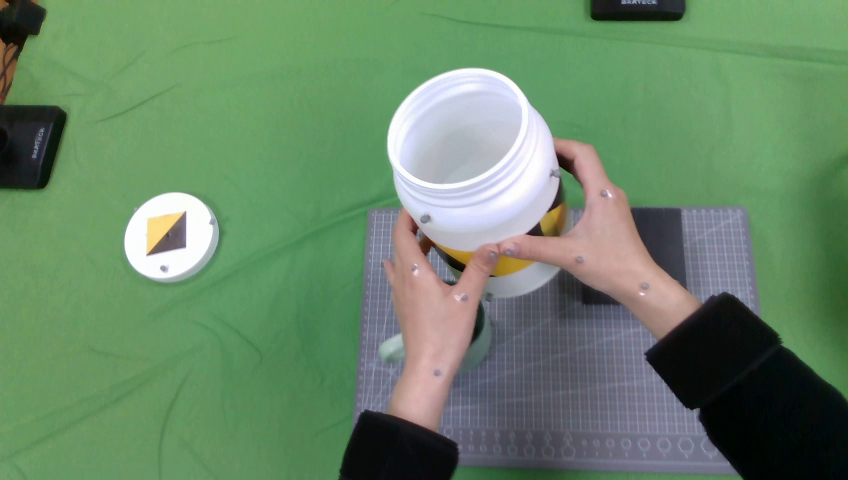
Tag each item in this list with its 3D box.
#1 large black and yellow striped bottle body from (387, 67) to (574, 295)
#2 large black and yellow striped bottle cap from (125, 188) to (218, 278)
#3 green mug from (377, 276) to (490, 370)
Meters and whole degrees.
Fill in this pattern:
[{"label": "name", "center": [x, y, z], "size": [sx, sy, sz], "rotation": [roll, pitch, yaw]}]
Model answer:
[{"label": "large black and yellow striped bottle body", "center": [0.052, -0.044, 0.516], "size": [0.130, 0.186, 0.129], "rotation": [-9, 60, 16]}, {"label": "large black and yellow striped bottle cap", "center": [-0.317, -0.010, 0.760], "size": [0.115, 0.019, 0.114], "rotation": [-2, 72, 5]}, {"label": "green mug", "center": [0.010, 0.096, 0.647], "size": [0.125, 0.105, 0.092], "rotation": [-25, 72, -2]}]
